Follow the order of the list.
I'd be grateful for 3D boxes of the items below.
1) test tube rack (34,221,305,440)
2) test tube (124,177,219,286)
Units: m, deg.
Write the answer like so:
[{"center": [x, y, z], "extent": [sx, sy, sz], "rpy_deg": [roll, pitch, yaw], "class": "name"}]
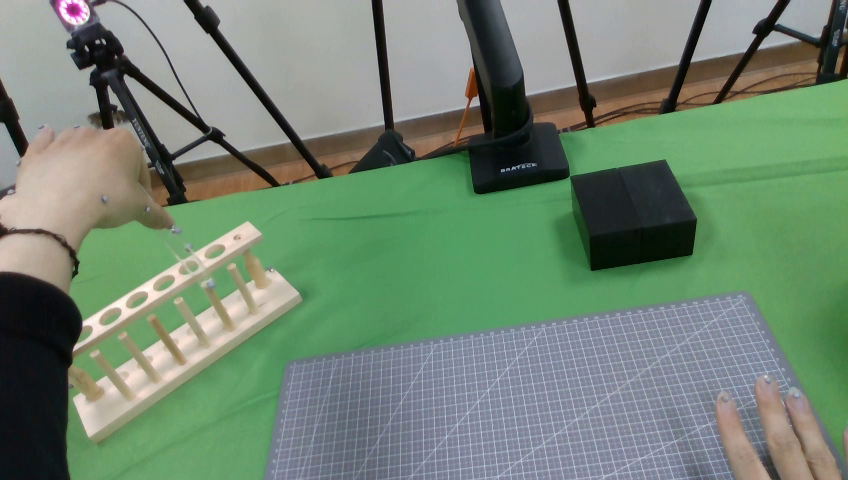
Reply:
[{"center": [-0.254, 0.088, 0.630], "extent": [0.242, 0.086, 0.066], "rpy_deg": [-35, 45, -21], "class": "test tube rack"}, {"center": [-0.225, -0.004, 0.550], "extent": [0.017, 0.152, 0.017], "rpy_deg": [-6, 52, 8], "class": "test tube"}]
